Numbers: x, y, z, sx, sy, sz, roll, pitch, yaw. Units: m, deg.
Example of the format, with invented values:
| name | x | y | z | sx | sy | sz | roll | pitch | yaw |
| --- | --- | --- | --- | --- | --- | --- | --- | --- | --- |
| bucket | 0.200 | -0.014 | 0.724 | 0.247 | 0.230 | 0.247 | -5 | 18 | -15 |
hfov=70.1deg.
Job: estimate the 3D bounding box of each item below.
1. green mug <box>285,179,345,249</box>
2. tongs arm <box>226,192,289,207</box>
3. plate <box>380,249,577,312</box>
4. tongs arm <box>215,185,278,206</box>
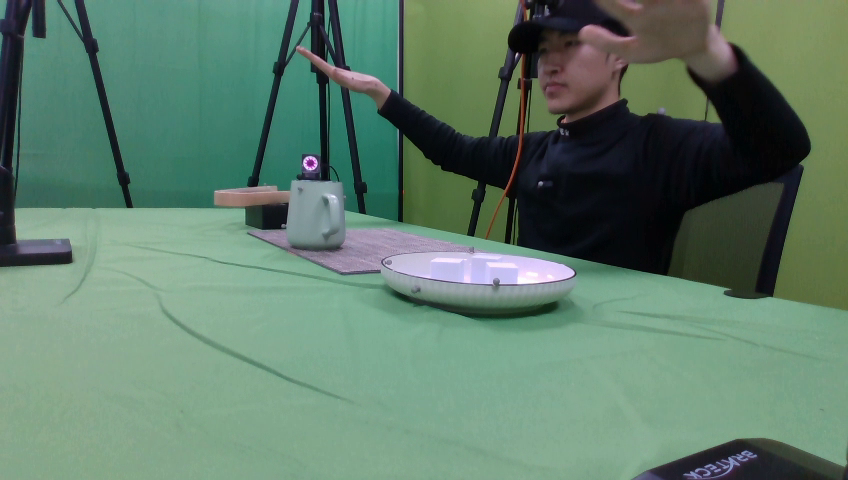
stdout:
| name | x | y | z | sx | sy | sz | roll | pitch | yaw |
| --- | --- | --- | --- | --- | --- | --- | --- | --- | --- |
| green mug | -0.161 | -0.040 | 0.936 | 0.093 | 0.105 | 0.124 | -2 | 8 | -32 |
| tongs arm | -0.285 | -0.091 | 1.284 | 0.028 | 0.028 | 0.389 | 13 | 9 | 17 |
| plate | 0.056 | 0.042 | 0.646 | 0.209 | 0.038 | 0.209 | 2 | 7 | 0 |
| tongs arm | -0.362 | -0.099 | 1.297 | 0.051 | 0.026 | 0.385 | 7 | 7 | 6 |
